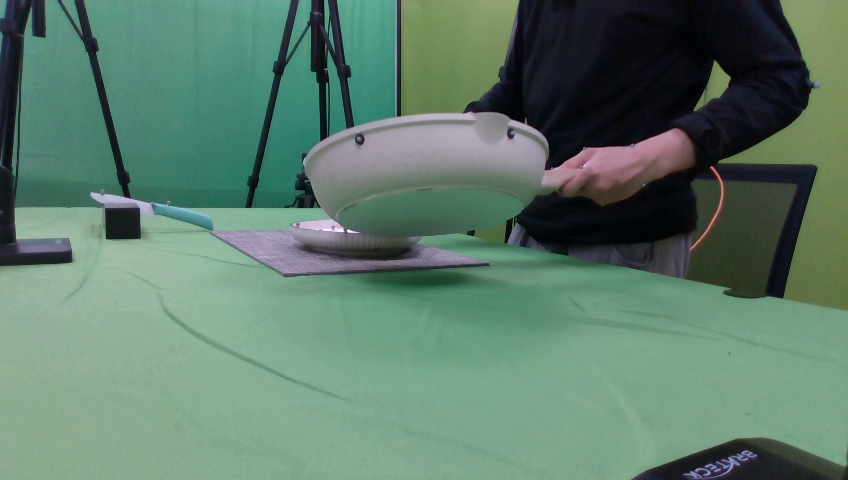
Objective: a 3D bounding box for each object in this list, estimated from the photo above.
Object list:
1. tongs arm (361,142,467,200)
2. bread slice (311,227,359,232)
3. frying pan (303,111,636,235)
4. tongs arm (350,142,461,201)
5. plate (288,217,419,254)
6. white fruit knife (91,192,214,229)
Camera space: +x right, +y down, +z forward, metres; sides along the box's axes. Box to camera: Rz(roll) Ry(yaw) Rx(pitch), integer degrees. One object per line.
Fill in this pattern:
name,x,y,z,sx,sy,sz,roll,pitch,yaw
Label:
tongs arm,-0.004,-0.132,1.085,0.028,0.028,0.389,-8,14,31
bread slice,-0.115,-0.005,0.950,0.134,0.018,0.107,3,6,-7
frying pan,0.095,-0.077,0.773,0.490,0.102,0.305,-8,-8,-28
tongs arm,-0.019,-0.131,1.094,0.050,0.026,0.386,-6,15,25
plate,-0.109,-0.007,0.956,0.208,0.039,0.207,2,8,0
white fruit knife,-0.478,-0.055,1.077,0.208,0.027,0.016,14,-2,-30
